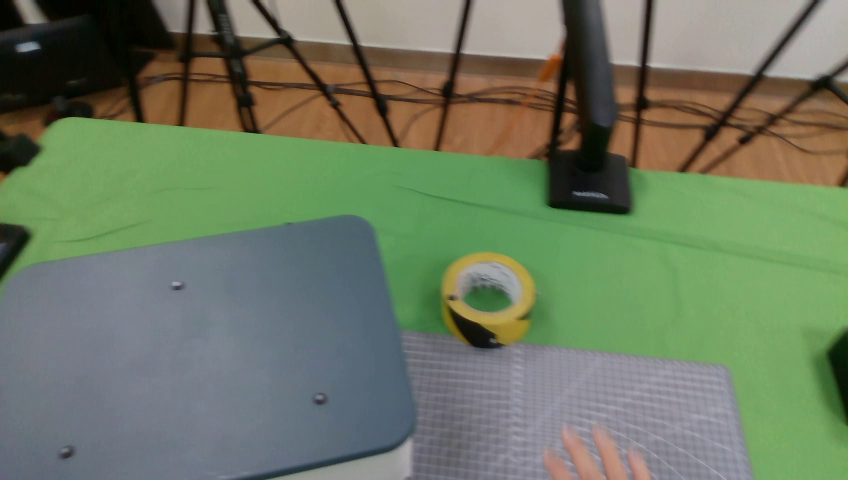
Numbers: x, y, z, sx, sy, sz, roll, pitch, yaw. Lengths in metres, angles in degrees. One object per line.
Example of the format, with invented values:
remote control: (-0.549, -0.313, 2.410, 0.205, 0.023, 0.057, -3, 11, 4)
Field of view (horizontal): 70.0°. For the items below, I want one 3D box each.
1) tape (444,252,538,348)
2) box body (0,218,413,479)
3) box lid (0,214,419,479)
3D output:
tape: (0.080, 0.072, 0.743, 0.117, 0.053, 0.115, 1, 48, 0)
box body: (-0.204, 0.146, 0.610, 0.365, 0.162, 0.251, -10, 51, -7)
box lid: (-0.202, 0.098, 0.552, 0.372, 0.015, 0.260, -10, 51, -8)
